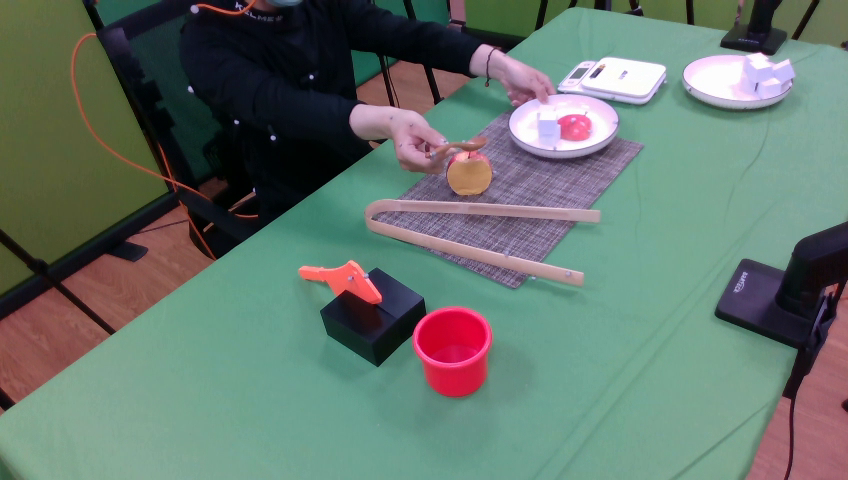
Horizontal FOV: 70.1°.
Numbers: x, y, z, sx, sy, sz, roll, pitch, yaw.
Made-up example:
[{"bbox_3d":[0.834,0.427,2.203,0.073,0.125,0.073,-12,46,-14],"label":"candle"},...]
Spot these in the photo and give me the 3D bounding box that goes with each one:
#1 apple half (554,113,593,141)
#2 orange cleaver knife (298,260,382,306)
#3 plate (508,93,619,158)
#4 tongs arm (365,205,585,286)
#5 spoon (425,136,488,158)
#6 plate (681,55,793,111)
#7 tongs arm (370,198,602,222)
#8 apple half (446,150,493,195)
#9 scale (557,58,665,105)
[{"bbox_3d":[0.288,-0.225,1.165,0.081,0.033,0.081,-2,42,3],"label":"apple half"},{"bbox_3d":[-0.126,0.063,0.876,0.012,0.077,0.210,-38,19,-30],"label":"orange cleaver knife"},{"bbox_3d":[0.267,-0.216,1.166,0.209,0.038,0.208,-4,42,4],"label":"plate"},{"bbox_3d":[0.067,0.004,0.951,0.382,0.026,0.051,13,46,23],"label":"tongs arm"},{"bbox_3d":[0.046,-0.137,0.888,0.041,0.021,0.195,-3,9,29],"label":"spoon"},{"bbox_3d":[0.636,-0.317,1.239,0.207,0.039,0.206,-4,40,4],"label":"plate"},{"bbox_3d":[0.097,-0.048,1.008,0.386,0.028,0.028,3,46,13],"label":"tongs arm"},{"bbox_3d":[0.080,-0.124,1.065,0.081,0.075,0.053,-7,36,7],"label":"apple half"},{"bbox_3d":[0.407,-0.348,1.314,0.199,0.032,0.149,19,47,28],"label":"scale"}]
